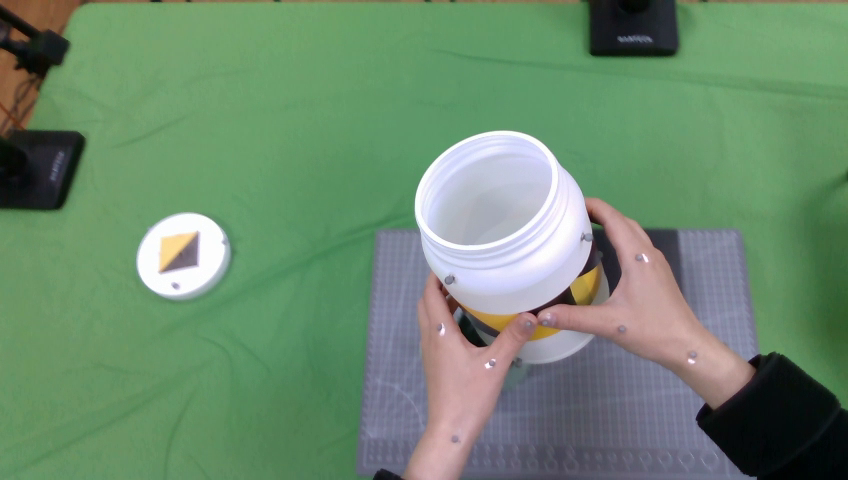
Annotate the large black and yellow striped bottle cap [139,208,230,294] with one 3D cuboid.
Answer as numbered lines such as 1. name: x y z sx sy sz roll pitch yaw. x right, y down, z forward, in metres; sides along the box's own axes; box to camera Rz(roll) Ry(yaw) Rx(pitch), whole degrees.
1. large black and yellow striped bottle cap: -0.309 0.013 0.781 0.115 0.019 0.114 -2 68 4

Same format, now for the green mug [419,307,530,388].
1. green mug: 0.057 0.112 0.661 0.125 0.106 0.092 -7 69 2

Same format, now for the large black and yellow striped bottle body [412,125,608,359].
1. large black and yellow striped bottle body: 0.075 0.006 0.502 0.130 0.186 0.129 -12 54 18
